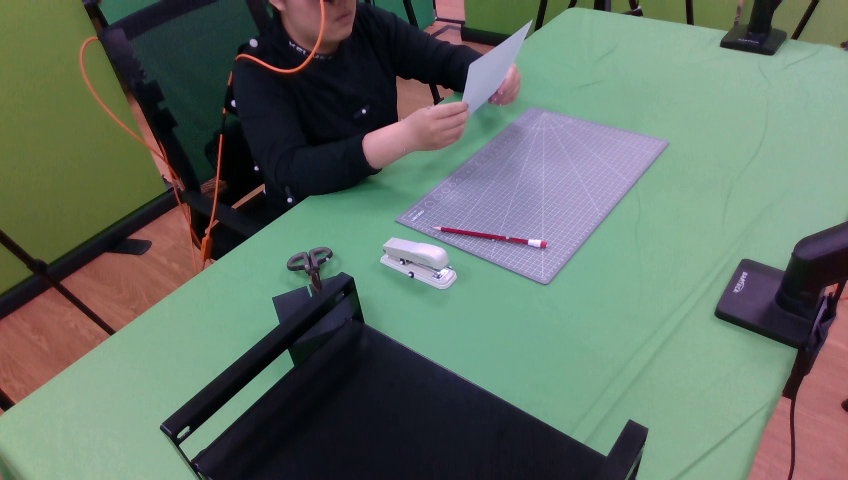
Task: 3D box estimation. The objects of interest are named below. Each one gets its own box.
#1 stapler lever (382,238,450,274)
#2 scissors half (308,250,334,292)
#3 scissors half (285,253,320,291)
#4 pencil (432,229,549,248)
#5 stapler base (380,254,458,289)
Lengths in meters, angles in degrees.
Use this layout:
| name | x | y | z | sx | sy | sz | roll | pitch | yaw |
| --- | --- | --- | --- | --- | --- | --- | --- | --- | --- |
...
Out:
| name | x | y | z | sx | sy | sz | roll | pitch | yaw |
| --- | --- | --- | --- | --- | --- | --- | --- | --- | --- |
| stapler lever | -0.014 | 0.018 | 0.919 | 0.117 | 0.040 | 0.027 | 21 | 45 | 31 |
| scissors half | -0.159 | 0.046 | 0.913 | 0.040 | 0.013 | 0.174 | -6 | 18 | -4 |
| scissors half | -0.178 | 0.049 | 0.909 | 0.040 | 0.013 | 0.174 | -17 | 20 | -19 |
| pencil | 0.103 | -0.004 | 0.970 | 0.193 | 0.012 | 0.012 | 7 | 42 | 18 |
| stapler base | -0.009 | 0.037 | 0.934 | 0.129 | 0.024 | 0.041 | 20 | 44 | 31 |
